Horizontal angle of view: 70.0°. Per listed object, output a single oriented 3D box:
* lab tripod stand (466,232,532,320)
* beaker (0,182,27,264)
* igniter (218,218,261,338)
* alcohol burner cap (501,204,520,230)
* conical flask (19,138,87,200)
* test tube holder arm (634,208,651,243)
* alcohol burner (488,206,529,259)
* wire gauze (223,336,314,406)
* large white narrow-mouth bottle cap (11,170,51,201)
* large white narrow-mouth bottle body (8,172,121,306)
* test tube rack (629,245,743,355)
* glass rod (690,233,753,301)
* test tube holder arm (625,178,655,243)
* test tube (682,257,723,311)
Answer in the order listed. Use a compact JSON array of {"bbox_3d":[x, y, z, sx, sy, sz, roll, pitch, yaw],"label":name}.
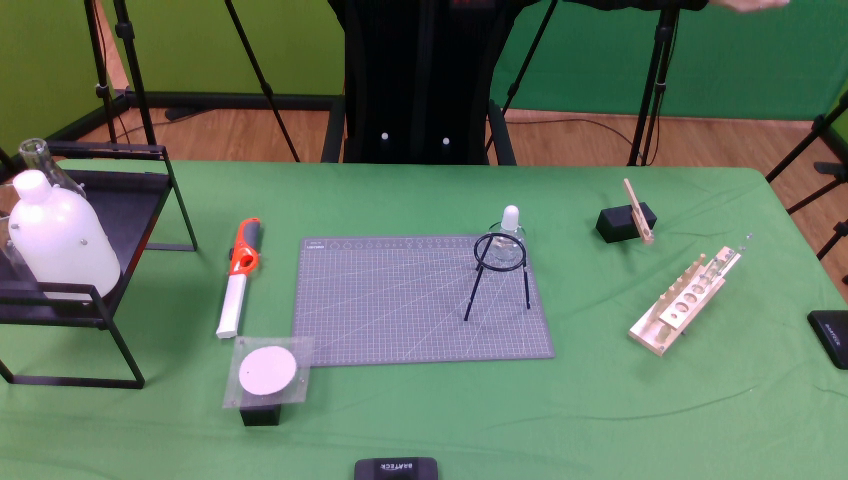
[{"bbox_3d":[0.125,0.059,1.065,0.148,0.132,0.147,1,45,0],"label":"lab tripod stand"},{"bbox_3d":[-0.582,-0.019,0.870,0.074,0.101,0.083,5,46,1],"label":"beaker"},{"bbox_3d":[-0.336,0.060,1.111,0.057,0.025,0.274,-7,46,4],"label":"igniter"},{"bbox_3d":[0.164,-0.046,1.133,0.034,0.048,0.033,2,40,-2],"label":"alcohol burner cap"},{"bbox_3d":[-0.576,-0.097,0.930,0.075,0.122,0.075,2,46,-2],"label":"conical flask"},{"bbox_3d":[0.428,-0.030,1.189,0.010,0.015,0.087,1,47,-2],"label":"test tube holder arm"},{"bbox_3d":[0.163,-0.020,1.158,0.078,0.120,0.077,0,47,0],"label":"alcohol burner"},{"bbox_3d":[-0.237,0.197,0.931,0.121,0.011,0.124,1,45,-4],"label":"wire gauze"},{"bbox_3d":[-0.477,-0.066,0.736,0.038,0.024,0.037,2,46,-2],"label":"large white narrow-mouth bottle cap"},{"bbox_3d":[-0.479,-0.007,0.798,0.102,0.195,0.101,2,46,-2],"label":"large white narrow-mouth bottle body"},{"bbox_3d":[0.474,0.095,1.091,0.242,0.085,0.066,-34,56,-31],"label":"test tube rack"},{"bbox_3d":[0.507,0.053,1.041,0.008,0.200,0.008,5,51,-6],"label":"glass rod"},{"bbox_3d":[0.433,-0.063,1.220,0.013,0.015,0.177,1,47,-3],"label":"test tube holder arm"},{"bbox_3d":[0.475,0.080,1.037,0.017,0.151,0.017,1,51,-1],"label":"test tube"}]
